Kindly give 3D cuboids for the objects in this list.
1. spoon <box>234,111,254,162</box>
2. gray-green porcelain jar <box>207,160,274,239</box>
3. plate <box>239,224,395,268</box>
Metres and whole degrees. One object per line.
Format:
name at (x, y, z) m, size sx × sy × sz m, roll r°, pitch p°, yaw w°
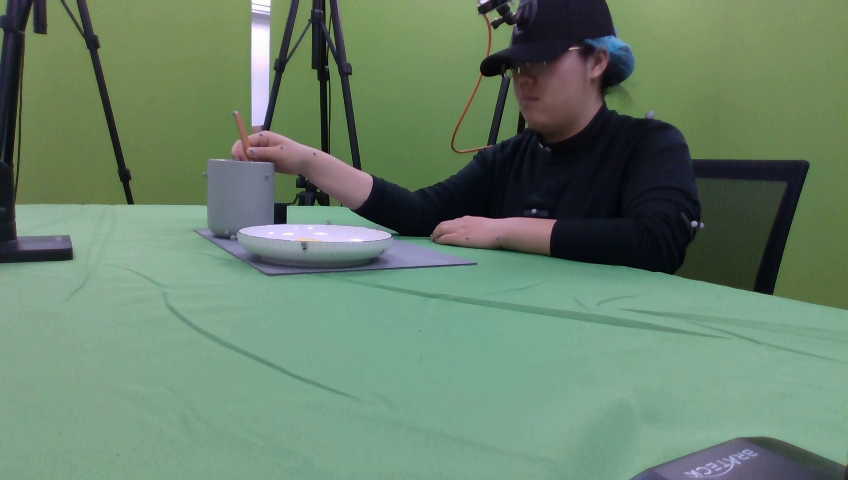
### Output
spoon at (-0.286, -0.115, 0.999) m, size 0.021 × 0.193 × 0.042 m, roll -1°, pitch 13°, yaw 26°
gray-green porcelain jar at (-0.304, -0.068, 1.004) m, size 0.106 × 0.126 × 0.106 m, roll 3°, pitch 7°, yaw 0°
plate at (-0.144, 0.007, 0.823) m, size 0.208 × 0.039 × 0.207 m, roll 3°, pitch 7°, yaw 0°
